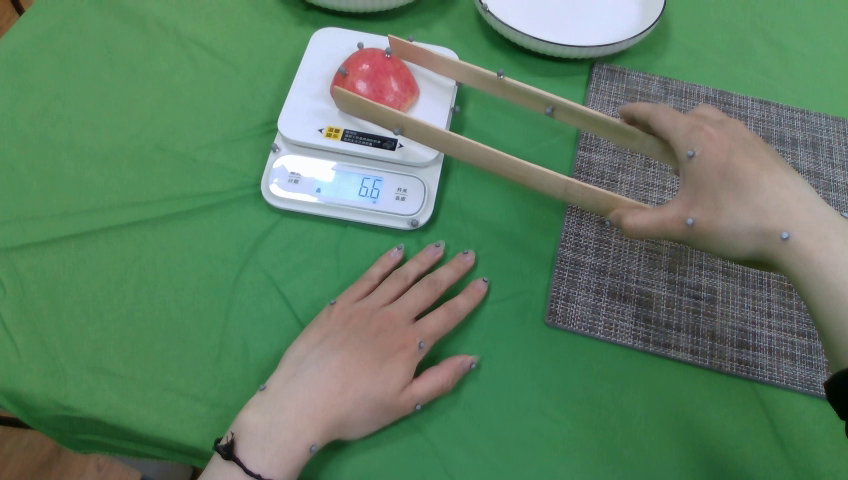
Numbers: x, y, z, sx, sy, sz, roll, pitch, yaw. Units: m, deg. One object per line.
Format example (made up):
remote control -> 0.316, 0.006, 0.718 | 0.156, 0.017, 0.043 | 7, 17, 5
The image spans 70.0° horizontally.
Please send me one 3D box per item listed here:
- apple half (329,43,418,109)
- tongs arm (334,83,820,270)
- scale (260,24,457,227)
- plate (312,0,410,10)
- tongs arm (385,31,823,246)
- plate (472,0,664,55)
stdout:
apple half -> -0.043, -0.149, 0.536 | 0.081, 0.033, 0.080 | 1, 60, -2
tongs arm -> 0.093, -0.056, 0.469 | 0.385, 0.028, 0.028 | 23, 56, 17
scale -> -0.053, -0.109, 0.547 | 0.148, 0.032, 0.199 | 10, 60, 3
plate -> -0.070, -0.320, 0.665 | 0.208, 0.039, 0.206 | 2, 60, -2
tongs arm -> 0.118, -0.089, 0.490 | 0.382, 0.027, 0.050 | 26, 60, 18
plate -> 0.148, -0.269, 0.648 | 0.209, 0.038, 0.207 | 2, 59, -3
